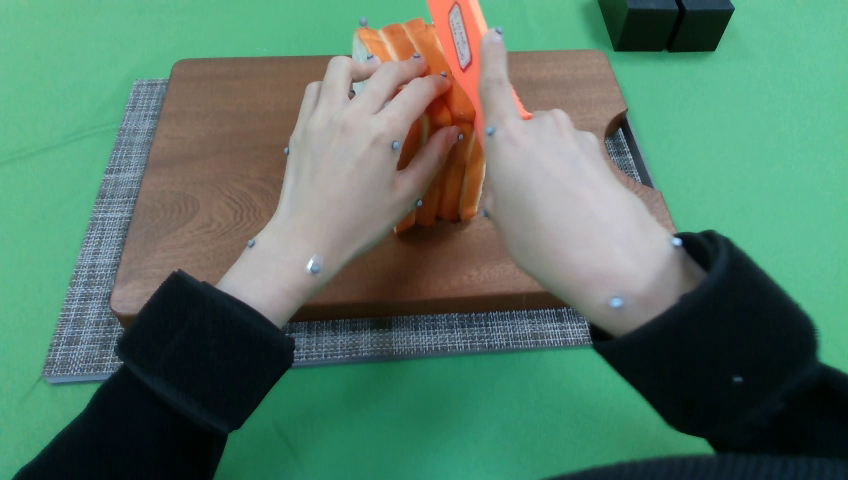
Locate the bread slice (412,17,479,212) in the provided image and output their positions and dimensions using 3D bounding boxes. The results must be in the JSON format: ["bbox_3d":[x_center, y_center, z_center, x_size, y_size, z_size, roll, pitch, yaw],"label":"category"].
[{"bbox_3d":[0.015,-0.102,0.445,0.019,0.106,0.130,-10,49,-10],"label":"bread slice"}]

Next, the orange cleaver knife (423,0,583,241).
[{"bbox_3d":[0.036,-0.085,0.350,0.012,0.077,0.209,-15,68,-13],"label":"orange cleaver knife"}]

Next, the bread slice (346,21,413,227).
[{"bbox_3d":[-0.035,-0.090,0.436,0.018,0.108,0.133,-10,48,-14],"label":"bread slice"}]
